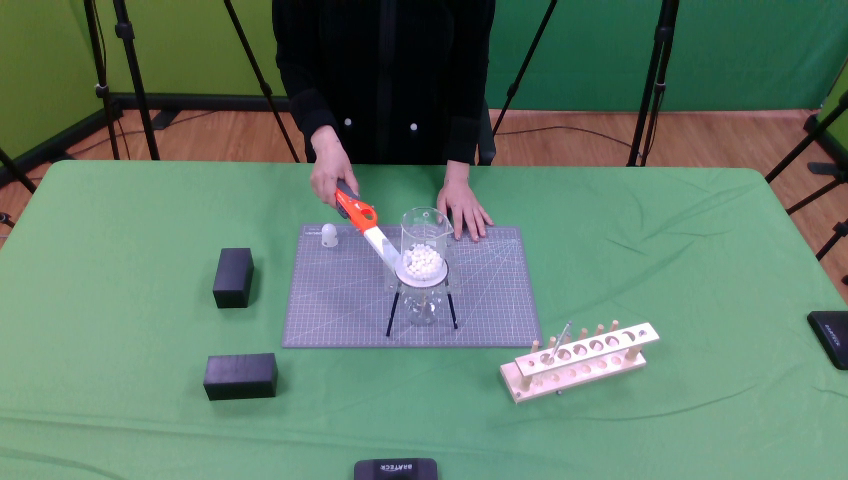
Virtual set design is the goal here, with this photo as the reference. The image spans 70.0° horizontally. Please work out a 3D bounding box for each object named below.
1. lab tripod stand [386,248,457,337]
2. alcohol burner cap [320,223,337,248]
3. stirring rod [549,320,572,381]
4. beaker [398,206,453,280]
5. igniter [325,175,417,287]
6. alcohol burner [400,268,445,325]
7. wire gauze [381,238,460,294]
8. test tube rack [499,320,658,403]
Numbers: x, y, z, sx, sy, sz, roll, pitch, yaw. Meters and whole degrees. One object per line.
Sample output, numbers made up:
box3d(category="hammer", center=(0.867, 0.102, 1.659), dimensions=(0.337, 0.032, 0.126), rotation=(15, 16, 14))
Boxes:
box3d(category="lab tripod stand", center=(-0.010, 0.087, 1.032), dimensions=(0.148, 0.132, 0.147), rotation=(1, 45, -1))
box3d(category="alcohol burner cap", center=(-0.187, -0.011, 1.176), dimensions=(0.034, 0.048, 0.033), rotation=(1, 47, -1))
box3d(category="stirring rod", center=(0.202, 0.167, 0.901), dimensions=(0.006, 0.177, 0.014), rotation=(-17, 54, -11))
box3d(category="beaker", center=(0.000, 0.008, 0.950), dimensions=(0.084, 0.101, 0.073), rotation=(10, 45, 6))
box3d(category="igniter", center=(-0.102, -0.024, 1.076), dimensions=(0.057, 0.025, 0.275), rotation=(-23, 58, -29))
box3d(category="alcohol burner", center=(-0.003, 0.092, 1.042), dimensions=(0.078, 0.120, 0.077), rotation=(1, 46, -1))
box3d(category="wire gauze", center=(-0.007, 0.042, 0.985), dimensions=(0.125, 0.011, 0.120), rotation=(-1, 43, -2))
box3d(category="test tube rack", center=(0.252, 0.187, 0.994), dimensions=(0.243, 0.085, 0.066), rotation=(-12, 48, -15))
